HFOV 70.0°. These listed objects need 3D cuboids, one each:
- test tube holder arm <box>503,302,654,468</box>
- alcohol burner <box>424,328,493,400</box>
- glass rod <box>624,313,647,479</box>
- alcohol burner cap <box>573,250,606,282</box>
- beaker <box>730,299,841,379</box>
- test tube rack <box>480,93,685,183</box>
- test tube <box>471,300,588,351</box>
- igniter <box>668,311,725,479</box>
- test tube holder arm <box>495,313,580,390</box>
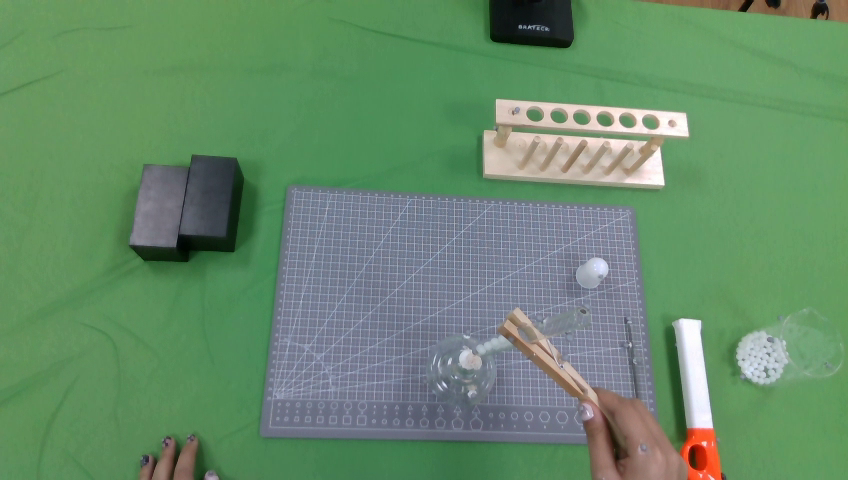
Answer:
[{"bbox_3d":[0.130,0.122,0.507,0.178,0.015,0.013,47,60,-1],"label":"test tube holder arm"},{"bbox_3d":[0.039,0.129,0.648,0.078,0.120,0.077,2,68,-5],"label":"alcohol burner"},{"bbox_3d":[0.247,0.183,0.710,0.008,0.008,0.198,3,70,-6],"label":"glass rod"},{"bbox_3d":[0.205,0.030,0.741,0.034,0.048,0.033,2,70,-6],"label":"alcohol burner cap"},{"bbox_3d":[0.416,0.119,0.708,0.074,0.101,0.083,16,68,-1],"label":"beaker"},{"bbox_3d":[0.199,-0.128,0.776,0.243,0.085,0.066,3,70,-6],"label":"test tube rack"},{"bbox_3d":[0.081,0.074,0.504,0.017,0.150,0.017,10,67,-25],"label":"test tube"},{"bbox_3d":[0.313,0.219,0.698,0.057,0.025,0.274,7,70,-15],"label":"igniter"},{"bbox_3d":[0.095,0.093,0.503,0.088,0.015,0.010,41,60,-4],"label":"test tube holder arm"}]
